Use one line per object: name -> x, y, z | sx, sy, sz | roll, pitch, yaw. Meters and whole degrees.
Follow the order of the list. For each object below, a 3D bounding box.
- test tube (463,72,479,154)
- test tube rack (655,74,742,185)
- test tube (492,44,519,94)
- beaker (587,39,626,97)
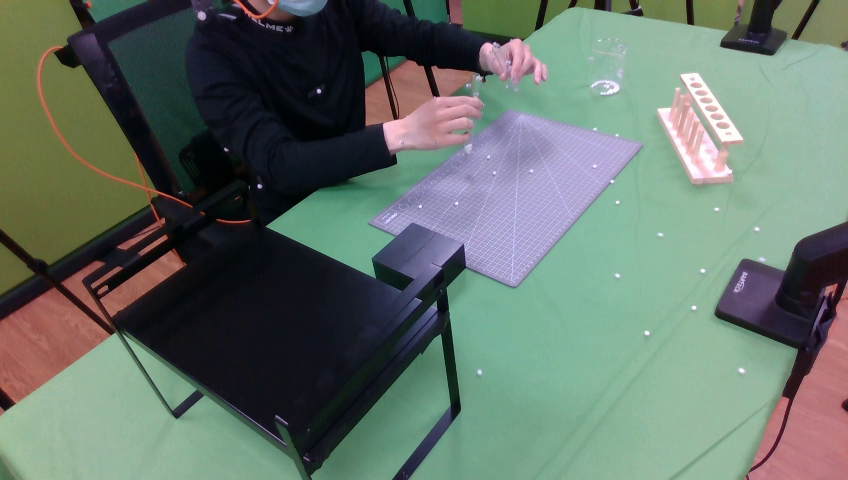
test tube -> 0.083, -0.221, 1.067 | 0.017, 0.150, 0.017 | 3, 35, -1
test tube rack -> 0.488, -0.205, 1.093 | 0.067, 0.085, 0.241 | -3, 41, 5
test tube -> 0.150, -0.309, 1.104 | 0.017, 0.151, 0.017 | -7, 70, 21
beaker -> 0.386, -0.361, 1.280 | 0.074, 0.101, 0.083 | -22, 43, -15
